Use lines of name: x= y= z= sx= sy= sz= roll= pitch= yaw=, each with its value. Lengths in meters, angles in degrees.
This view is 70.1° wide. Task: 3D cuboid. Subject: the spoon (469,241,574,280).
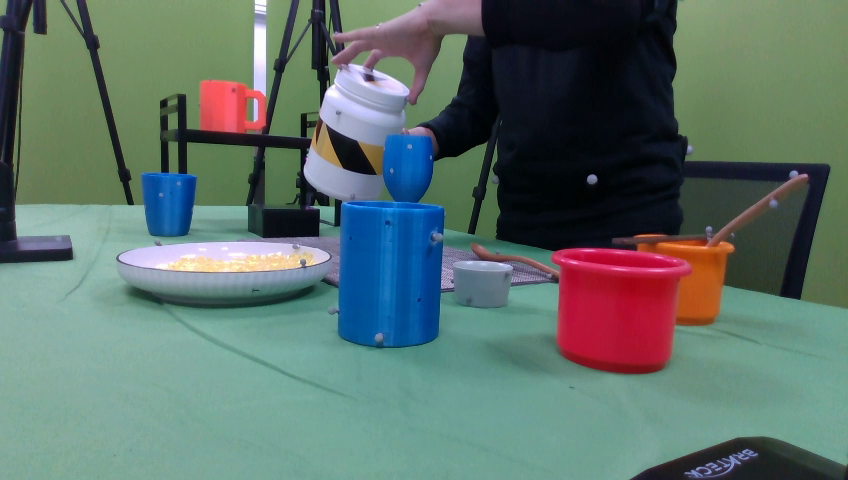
spoon: x=0.124 y=0.025 z=0.800 sx=0.042 sy=0.021 sz=0.192 roll=23 pitch=-6 yaw=-35

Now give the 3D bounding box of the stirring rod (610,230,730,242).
stirring rod: x=0.241 y=-0.005 z=0.582 sx=0.177 sy=0.006 sz=0.014 roll=-3 pitch=9 yaw=-34

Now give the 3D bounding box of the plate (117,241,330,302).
plate: x=-0.203 y=0.031 z=0.630 sx=0.209 sy=0.038 sz=0.209 roll=3 pitch=7 yaw=0

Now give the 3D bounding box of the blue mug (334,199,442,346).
blue mug: x=-0.034 y=0.020 z=0.498 sx=0.083 sy=0.106 sz=0.116 roll=0 pitch=7 yaw=-19

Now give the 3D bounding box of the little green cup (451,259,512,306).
little green cup: x=0.057 y=0.043 z=0.611 sx=0.061 sy=0.038 sz=0.061 roll=3 pitch=8 yaw=0

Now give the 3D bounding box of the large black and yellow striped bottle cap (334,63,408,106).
large black and yellow striped bottle cap: x=-0.080 y=-0.239 z=0.926 sx=0.115 sy=0.019 sz=0.115 roll=19 pitch=28 yaw=-10

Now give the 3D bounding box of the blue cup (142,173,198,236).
blue cup: x=-0.425 y=-0.060 z=1.014 sx=0.093 sy=0.100 sz=0.092 roll=4 pitch=9 yaw=0

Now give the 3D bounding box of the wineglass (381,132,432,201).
wineglass: x=-0.026 y=-0.062 z=0.841 sx=0.074 sy=0.172 sz=0.073 roll=2 pitch=7 yaw=0

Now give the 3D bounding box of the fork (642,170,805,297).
fork: x=0.261 y=0.004 z=0.545 sx=0.028 sy=0.018 sz=0.207 roll=5 pitch=-37 yaw=-16

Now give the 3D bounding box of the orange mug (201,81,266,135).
orange mug: x=-0.376 y=-0.260 z=1.198 sx=0.126 sy=0.101 sz=0.083 roll=-3 pitch=8 yaw=-6

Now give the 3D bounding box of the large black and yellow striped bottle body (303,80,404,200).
large black and yellow striped bottle body: x=-0.108 y=-0.169 z=0.962 sx=0.131 sy=0.184 sz=0.130 roll=18 pitch=26 yaw=-9
